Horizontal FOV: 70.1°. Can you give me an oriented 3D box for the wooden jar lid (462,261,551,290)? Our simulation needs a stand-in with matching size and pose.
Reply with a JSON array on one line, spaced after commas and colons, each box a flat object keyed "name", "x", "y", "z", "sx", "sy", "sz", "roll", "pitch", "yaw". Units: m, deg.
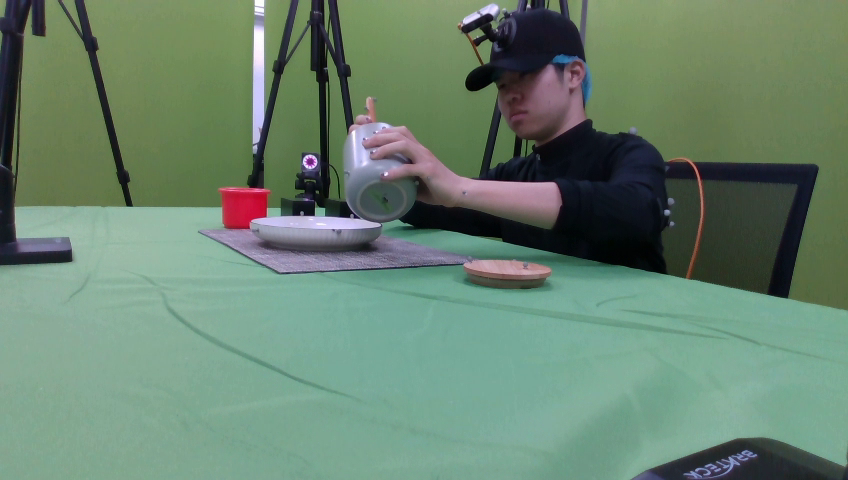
[{"name": "wooden jar lid", "x": 0.100, "y": 0.043, "z": 0.742, "sx": 0.108, "sy": 0.020, "sz": 0.108, "roll": 2, "pitch": 6, "yaw": 0}]

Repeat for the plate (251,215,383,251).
[{"name": "plate", "x": -0.170, "y": -0.012, "z": 0.971, "sx": 0.208, "sy": 0.039, "sz": 0.207, "roll": 2, "pitch": 7, "yaw": 0}]

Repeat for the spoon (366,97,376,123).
[{"name": "spoon", "x": -0.080, "y": -0.164, "z": 0.962, "sx": 0.042, "sy": 0.021, "sz": 0.193, "roll": -8, "pitch": 49, "yaw": -5}]

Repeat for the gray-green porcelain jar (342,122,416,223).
[{"name": "gray-green porcelain jar", "x": -0.068, "y": -0.096, "z": 0.890, "sx": 0.106, "sy": 0.106, "sz": 0.126, "roll": 1, "pitch": 40, "yaw": -11}]
